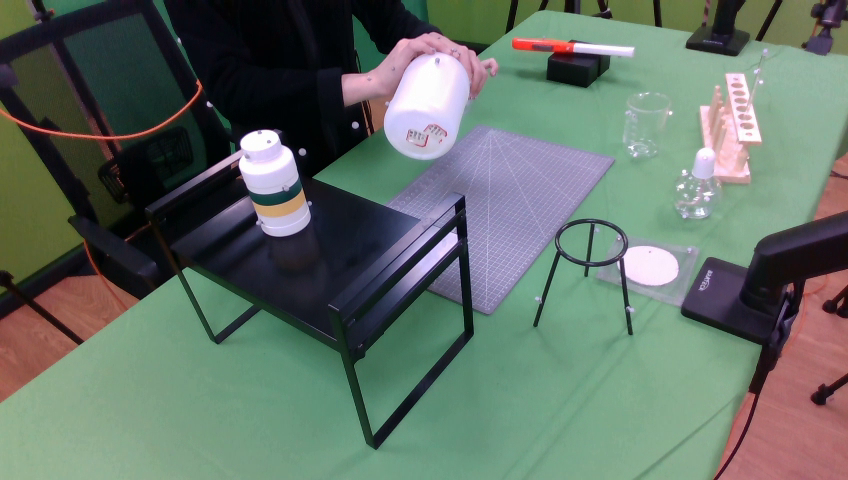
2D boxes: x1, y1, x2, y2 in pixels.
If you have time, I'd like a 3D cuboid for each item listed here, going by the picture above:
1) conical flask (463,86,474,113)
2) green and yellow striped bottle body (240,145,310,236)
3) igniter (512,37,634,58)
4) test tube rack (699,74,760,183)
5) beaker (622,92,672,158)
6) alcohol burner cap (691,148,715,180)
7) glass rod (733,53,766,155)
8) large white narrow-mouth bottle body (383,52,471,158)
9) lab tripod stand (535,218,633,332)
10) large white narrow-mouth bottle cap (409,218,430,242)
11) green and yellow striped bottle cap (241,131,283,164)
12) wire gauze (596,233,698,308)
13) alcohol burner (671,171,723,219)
[{"bbox_3d":[0.044,-0.263,1.009,0.075,0.122,0.075,-2,76,7],"label":"conical flask"},{"bbox_3d":[-0.181,-0.068,0.729,0.063,0.120,0.063,-4,40,4],"label":"green and yellow striped bottle body"},{"bbox_3d":[0.328,-0.433,1.360,0.275,0.025,0.057,12,33,20],"label":"igniter"},{"bbox_3d":[0.547,-0.208,1.095,0.066,0.085,0.242,6,42,16],"label":"test tube rack"},{"bbox_3d":[0.402,-0.210,1.106,0.074,0.101,0.083,-9,40,-2],"label":"beaker"},{"bbox_3d":[0.432,-0.120,0.930,0.034,0.048,0.033,-7,48,8],"label":"alcohol burner cap"},{"bbox_3d":[0.540,-0.220,1.007,0.008,0.201,0.008,-5,46,6],"label":"glass rod"},{"bbox_3d":[0.014,-0.211,0.873,0.101,0.102,0.194,6,47,15],"label":"large white narrow-mouth bottle body"},{"bbox_3d":[0.215,0.050,0.803,0.148,0.132,0.147,-4,42,4],"label":"lab tripod stand"},{"bbox_3d":[-0.008,-0.017,0.999,0.038,0.024,0.037,-3,39,3],"label":"large white narrow-mouth bottle cap"},{"bbox_3d":[-0.187,-0.107,0.695,0.045,0.020,0.045,-3,39,3],"label":"green and yellow striped bottle cap"},{"bbox_3d":[0.331,0.038,0.897,0.124,0.011,0.121,18,47,26],"label":"wire gauze"},{"bbox_3d":[0.434,-0.093,0.955,0.078,0.119,0.077,-3,43,4],"label":"alcohol burner"}]
